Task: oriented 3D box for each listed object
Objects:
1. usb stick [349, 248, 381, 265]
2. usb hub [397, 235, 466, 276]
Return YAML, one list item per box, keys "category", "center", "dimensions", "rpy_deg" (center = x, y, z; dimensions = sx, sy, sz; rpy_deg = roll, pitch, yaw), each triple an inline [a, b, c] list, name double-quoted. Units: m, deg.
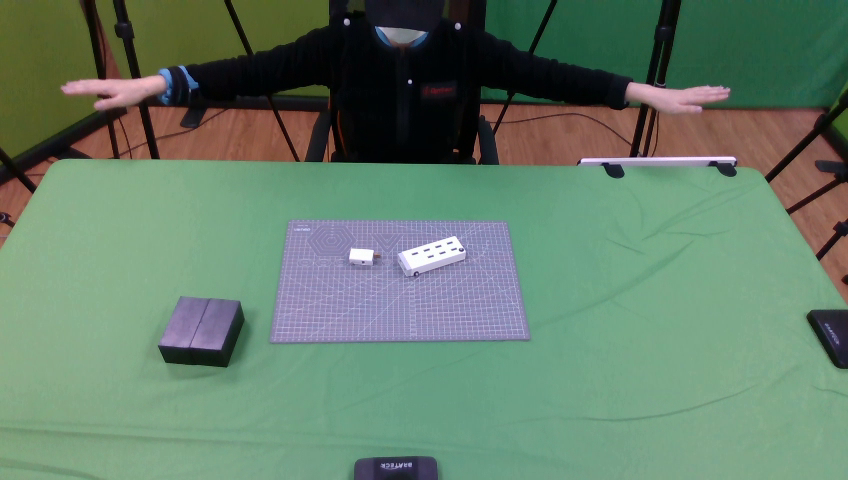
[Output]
- category: "usb stick"
  center: [-0.112, 0.032, 1.151]
  dimensions: [0.059, 0.021, 0.027]
  rpy_deg: [2, 57, 0]
- category: "usb hub"
  center: [0.015, 0.030, 1.162]
  dimensions: [0.125, 0.025, 0.049]
  rpy_deg: [-17, 51, -19]
